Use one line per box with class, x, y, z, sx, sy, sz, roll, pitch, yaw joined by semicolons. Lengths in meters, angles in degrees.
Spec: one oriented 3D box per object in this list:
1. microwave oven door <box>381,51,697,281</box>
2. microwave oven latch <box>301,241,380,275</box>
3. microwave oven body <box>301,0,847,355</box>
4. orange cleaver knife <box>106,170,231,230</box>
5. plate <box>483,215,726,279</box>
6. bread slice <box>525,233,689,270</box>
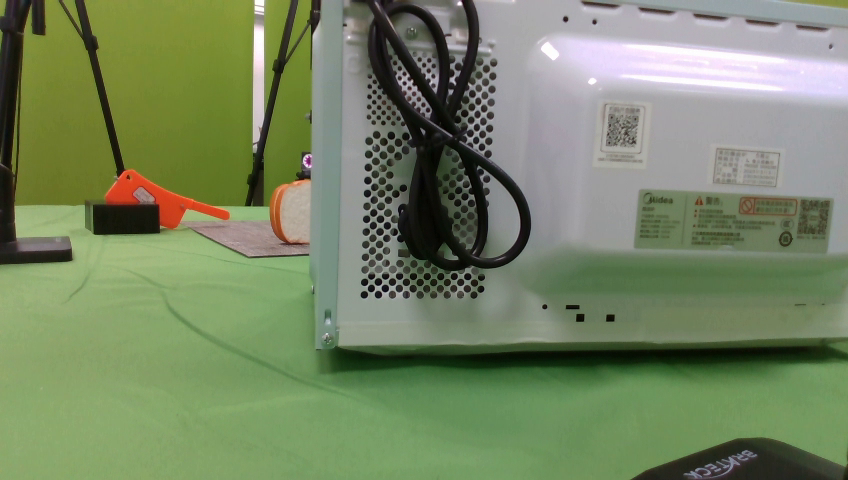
microwave oven door;0.134;-0.078;0.690;0.357;0.243;0.039;1;8;-10
microwave oven latch;-0.089;0.019;0.648;0.079;0.029;0.030;4;6;6
microwave oven body;0.120;-0.053;0.534;0.443;0.260;0.325;2;7;-11
orange cleaver knife;-0.457;-0.060;1.096;0.212;0.077;0.012;23;-4;-38
plate;0.157;0.004;0.546;0.208;0.039;0.207;-2;7;1
bread slice;0.175;0.009;0.565;0.134;0.018;0.107;-6;4;27
